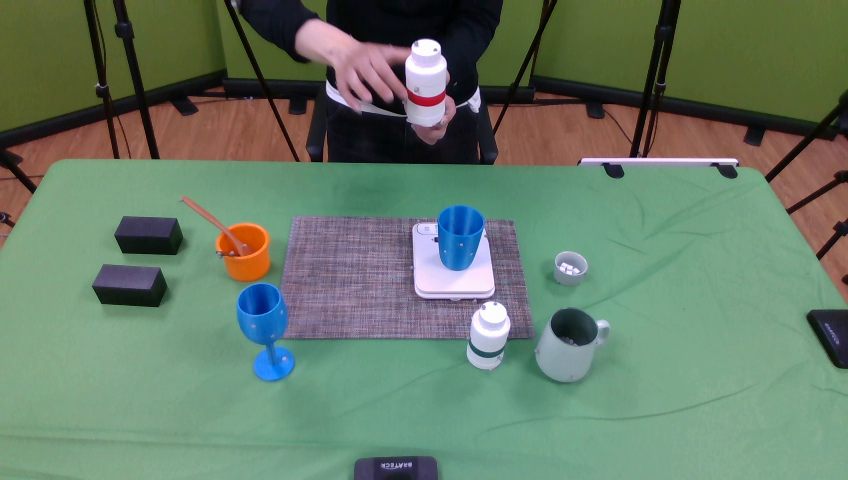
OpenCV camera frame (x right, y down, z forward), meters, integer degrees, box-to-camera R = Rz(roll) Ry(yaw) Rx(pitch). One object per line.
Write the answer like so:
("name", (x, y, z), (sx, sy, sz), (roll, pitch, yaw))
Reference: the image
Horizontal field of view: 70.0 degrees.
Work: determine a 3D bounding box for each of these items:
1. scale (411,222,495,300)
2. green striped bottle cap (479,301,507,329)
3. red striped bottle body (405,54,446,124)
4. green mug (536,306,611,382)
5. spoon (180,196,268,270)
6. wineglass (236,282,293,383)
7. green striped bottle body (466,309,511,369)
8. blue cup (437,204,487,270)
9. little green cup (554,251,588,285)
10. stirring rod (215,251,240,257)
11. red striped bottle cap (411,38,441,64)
("scale", (0.052, 0.031, 1.158), (0.149, 0.032, 0.199), (1, 46, -4))
("green striped bottle cap", (0.109, 0.118, 0.950), (0.044, 0.020, 0.044), (2, 47, -2))
("red striped bottle body", (0.002, -0.244, 0.934), (0.063, 0.120, 0.062), (0, 50, 0))
("green mug", (0.250, 0.167, 0.996), (0.125, 0.105, 0.092), (-15, 48, -18))
("spoon", (-0.360, -0.014, 1.095), (0.021, 0.194, 0.041), (-27, 26, 31))
("wineglass", (-0.243, 0.143, 0.934), (0.074, 0.173, 0.073), (2, 46, -2))
("green striped bottle body", (0.106, 0.154, 0.988), (0.063, 0.120, 0.063), (2, 46, -2))
("blue cup", (0.062, 0.000, 1.098), (0.093, 0.101, 0.092), (2, 44, -2))
("little green cup", (0.276, 0.055, 1.151), (0.061, 0.039, 0.061), (1, 46, -1))
("stirring rod", (-0.339, 0.024, 1.059), (0.014, 0.176, 0.006), (16, 86, -6))
("red striped bottle cap", (0.002, -0.279, 0.894), (0.044, 0.018, 0.044), (0, 51, 1))
